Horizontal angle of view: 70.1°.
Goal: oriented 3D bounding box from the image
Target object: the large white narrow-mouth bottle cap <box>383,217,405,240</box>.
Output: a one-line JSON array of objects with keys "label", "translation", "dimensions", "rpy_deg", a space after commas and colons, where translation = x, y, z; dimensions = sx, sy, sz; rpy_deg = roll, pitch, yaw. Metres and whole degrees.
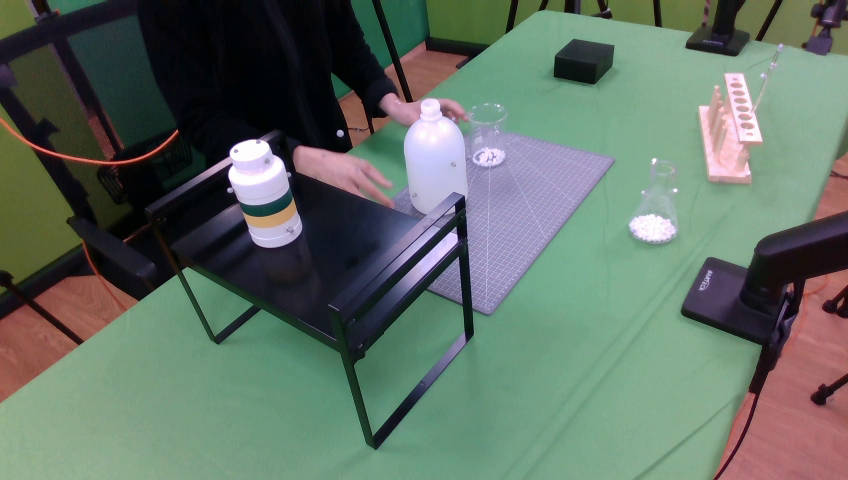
[{"label": "large white narrow-mouth bottle cap", "translation": [-0.050, -0.019, 1.003], "dimensions": [0.038, 0.024, 0.037], "rpy_deg": [-4, 39, 4]}]

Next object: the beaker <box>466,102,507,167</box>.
[{"label": "beaker", "translation": [0.121, -0.195, 1.124], "dimensions": [0.084, 0.100, 0.073], "rpy_deg": [-34, 48, -28]}]

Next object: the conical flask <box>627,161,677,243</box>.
[{"label": "conical flask", "translation": [0.355, -0.061, 0.921], "dimensions": [0.075, 0.122, 0.075], "rpy_deg": [-4, 41, 4]}]

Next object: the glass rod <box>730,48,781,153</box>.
[{"label": "glass rod", "translation": [0.554, -0.228, 1.015], "dimensions": [0.008, 0.200, 0.008], "rpy_deg": [1, 44, -1]}]

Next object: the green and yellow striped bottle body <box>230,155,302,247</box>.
[{"label": "green and yellow striped bottle body", "translation": [-0.188, -0.055, 0.714], "dimensions": [0.063, 0.120, 0.063], "rpy_deg": [-4, 41, 4]}]

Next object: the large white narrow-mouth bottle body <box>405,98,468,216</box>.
[{"label": "large white narrow-mouth bottle body", "translation": [0.019, -0.142, 1.004], "dimensions": [0.102, 0.195, 0.101], "rpy_deg": [-3, 39, 3]}]

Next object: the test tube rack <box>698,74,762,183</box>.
[{"label": "test tube rack", "translation": [0.547, -0.208, 1.095], "dimensions": [0.066, 0.085, 0.242], "rpy_deg": [5, 42, 15]}]

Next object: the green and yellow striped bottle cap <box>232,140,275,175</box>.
[{"label": "green and yellow striped bottle cap", "translation": [-0.192, -0.093, 0.680], "dimensions": [0.045, 0.020, 0.045], "rpy_deg": [-5, 39, 5]}]
